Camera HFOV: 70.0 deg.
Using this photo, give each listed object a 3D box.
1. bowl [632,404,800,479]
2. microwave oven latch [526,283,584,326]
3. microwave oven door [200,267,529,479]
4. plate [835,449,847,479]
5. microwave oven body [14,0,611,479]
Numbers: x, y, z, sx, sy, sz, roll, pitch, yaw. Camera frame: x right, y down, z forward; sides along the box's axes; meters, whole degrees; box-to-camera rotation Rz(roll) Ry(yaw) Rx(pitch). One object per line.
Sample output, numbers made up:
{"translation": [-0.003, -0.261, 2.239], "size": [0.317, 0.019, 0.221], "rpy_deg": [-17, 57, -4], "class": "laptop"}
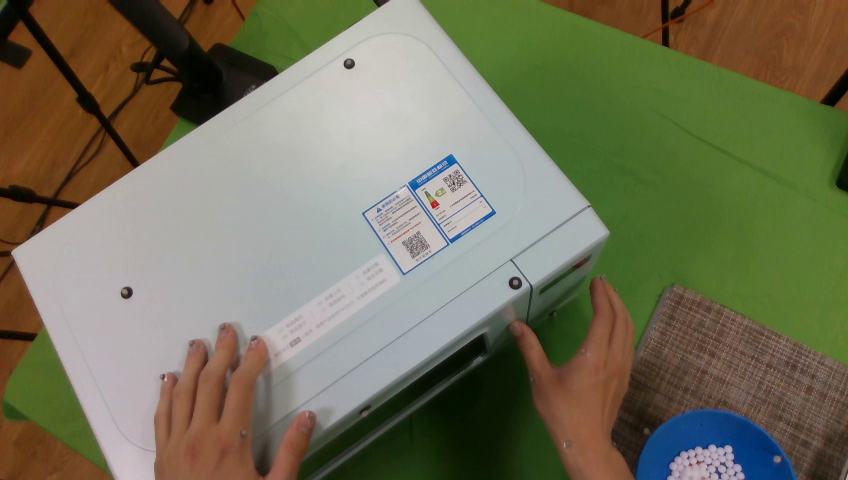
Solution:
{"translation": [0.281, 0.244, 0.609], "size": [0.151, 0.077, 0.150], "rpy_deg": [-2, 73, 7], "class": "bowl"}
{"translation": [0.143, 0.064, 0.688], "size": [0.079, 0.030, 0.030], "rpy_deg": [-33, 72, -2], "class": "microwave oven latch"}
{"translation": [-0.053, 0.157, 0.579], "size": [0.356, 0.245, 0.039], "rpy_deg": [-35, 71, -3], "class": "microwave oven door"}
{"translation": [0.509, 0.273, 0.591], "size": [0.207, 0.039, 0.206], "rpy_deg": [-2, 73, 7], "class": "plate"}
{"translation": [-0.099, 0.023, 0.631], "size": [0.442, 0.262, 0.324], "rpy_deg": [-35, 73, -3], "class": "microwave oven body"}
